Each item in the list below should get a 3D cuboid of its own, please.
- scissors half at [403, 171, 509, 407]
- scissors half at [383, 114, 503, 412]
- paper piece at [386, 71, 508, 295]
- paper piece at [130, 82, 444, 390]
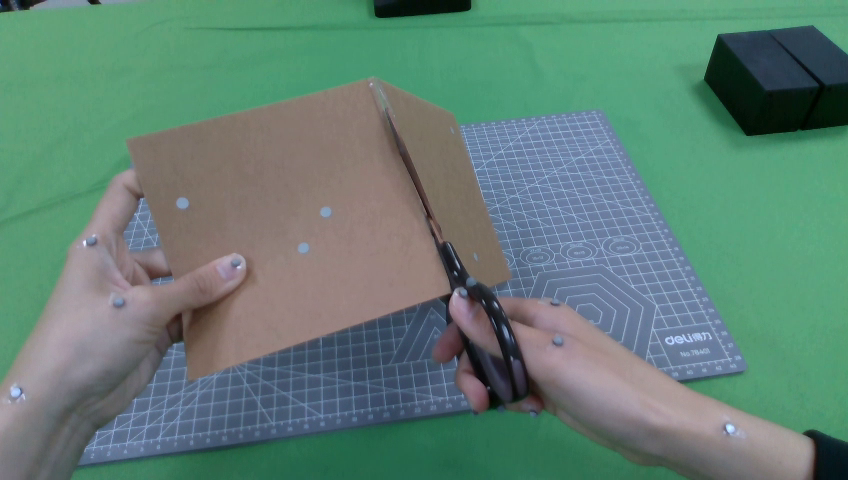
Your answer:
[{"bbox_3d":[0.005,0.003,0.314,0.013,0.040,0.173,-21,60,-3],"label":"scissors half"},{"bbox_3d":[0.007,0.010,0.335,0.013,0.040,0.174,-19,85,-8],"label":"scissors half"},{"bbox_3d":[0.019,-0.031,0.398,0.008,0.138,0.136,-15,87,21],"label":"paper piece"},{"bbox_3d":[-0.069,-0.008,0.320,0.136,0.004,0.135,-18,81,-12],"label":"paper piece"}]
